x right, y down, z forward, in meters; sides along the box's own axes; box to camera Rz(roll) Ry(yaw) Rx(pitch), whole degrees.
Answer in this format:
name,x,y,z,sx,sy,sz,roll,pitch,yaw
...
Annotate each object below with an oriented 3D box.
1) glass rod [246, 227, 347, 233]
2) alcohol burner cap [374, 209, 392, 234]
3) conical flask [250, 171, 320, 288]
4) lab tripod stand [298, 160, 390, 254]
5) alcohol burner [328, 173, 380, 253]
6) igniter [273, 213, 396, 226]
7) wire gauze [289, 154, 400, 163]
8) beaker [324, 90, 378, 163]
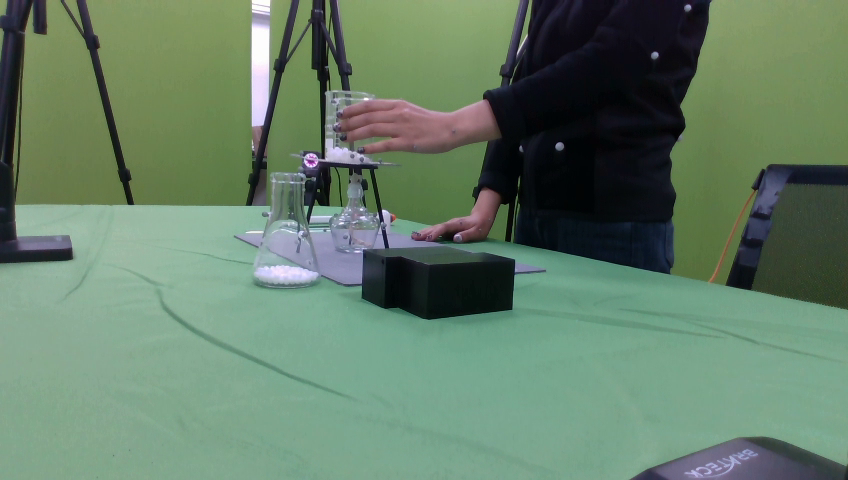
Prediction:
name,x,y,z,sx,sy,sz,roll,pitch,yaw
glass rod,-0.236,-0.021,1.140,0.201,0.008,0.008,-3,8,-33
alcohol burner cap,-0.078,-0.036,1.148,0.034,0.048,0.034,2,7,0
conical flask,-0.150,-0.013,0.658,0.075,0.122,0.075,2,7,0
lab tripod stand,-0.111,-0.050,0.893,0.148,0.131,0.148,4,6,0
alcohol burner,-0.104,-0.041,0.902,0.078,0.119,0.078,0,7,0
igniter,-0.179,-0.044,1.258,0.278,0.025,0.057,-3,-1,-39
wire gauze,-0.112,-0.114,0.883,0.124,0.011,0.122,5,4,28
beaker,-0.110,-0.162,0.879,0.083,0.100,0.074,7,7,36
